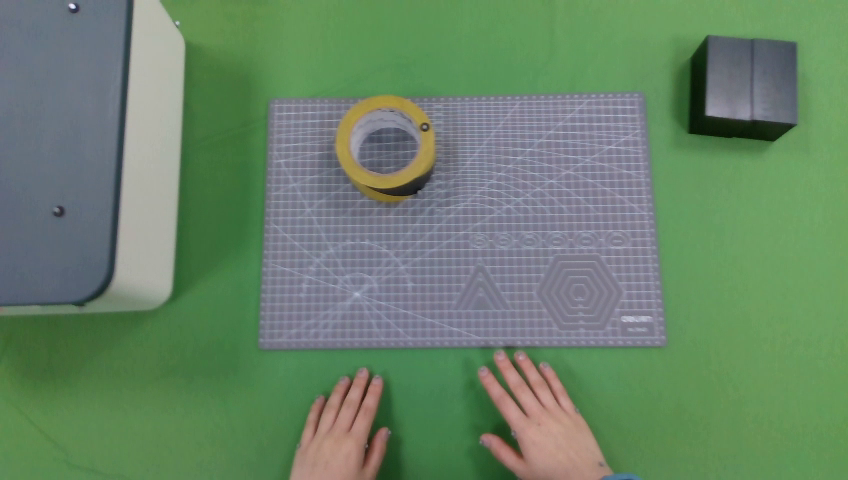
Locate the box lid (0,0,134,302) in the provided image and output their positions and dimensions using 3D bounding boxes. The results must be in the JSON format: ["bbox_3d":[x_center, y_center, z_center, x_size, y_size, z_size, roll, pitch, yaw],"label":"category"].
[{"bbox_3d":[-0.412,-0.124,0.575,0.263,0.015,0.370,-2,79,1],"label":"box lid"}]

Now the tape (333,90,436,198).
[{"bbox_3d":[-0.043,-0.107,0.690,0.117,0.053,0.116,0,79,2],"label":"tape"}]

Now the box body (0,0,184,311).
[{"bbox_3d":[-0.410,-0.106,0.647,0.254,0.161,0.362,-2,78,1],"label":"box body"}]
